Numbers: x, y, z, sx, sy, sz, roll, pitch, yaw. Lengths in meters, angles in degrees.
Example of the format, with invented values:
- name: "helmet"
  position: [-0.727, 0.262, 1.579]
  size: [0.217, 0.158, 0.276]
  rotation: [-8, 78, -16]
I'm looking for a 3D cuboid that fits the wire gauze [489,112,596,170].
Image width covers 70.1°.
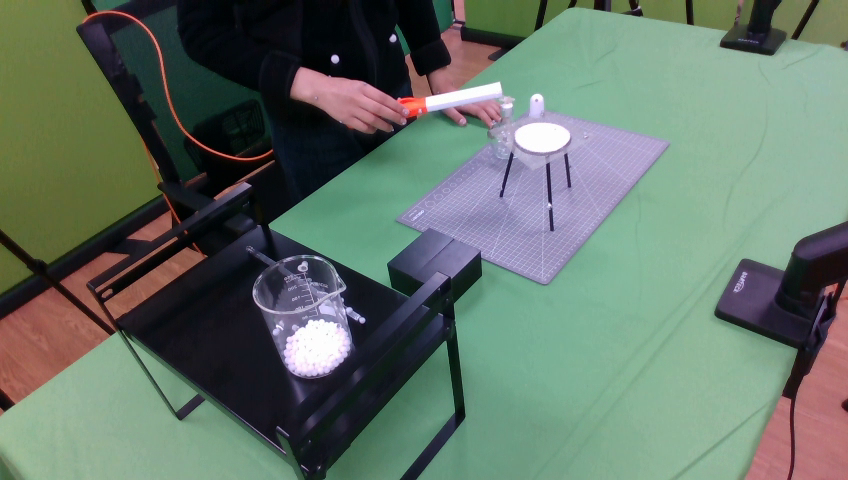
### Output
- name: "wire gauze"
  position: [0.183, -0.161, 0.942]
  size: [0.122, 0.011, 0.124]
  rotation: [-24, 44, -18]

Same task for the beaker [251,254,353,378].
- name: "beaker"
  position: [-0.106, 0.074, 0.565]
  size: [0.084, 0.101, 0.073]
  rotation: [-1, 41, 8]

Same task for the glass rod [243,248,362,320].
- name: "glass rod"
  position: [-0.141, 0.046, 0.674]
  size: [0.198, 0.008, 0.008]
  rotation: [24, 50, 32]

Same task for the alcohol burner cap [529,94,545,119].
- name: "alcohol burner cap"
  position: [0.233, -0.277, 1.247]
  size: [0.034, 0.048, 0.033]
  rotation: [-5, 41, 5]

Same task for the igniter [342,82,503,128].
- name: "igniter"
  position: [-0.006, -0.227, 1.022]
  size: [0.276, 0.025, 0.057]
  rotation: [-10, 41, 7]

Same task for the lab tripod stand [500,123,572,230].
- name: "lab tripod stand"
  position: [0.194, -0.110, 0.985]
  size: [0.148, 0.132, 0.147]
  rotation: [-3, 41, 3]

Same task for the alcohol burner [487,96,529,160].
- name: "alcohol burner"
  position: [0.155, -0.212, 1.126]
  size: [0.078, 0.119, 0.077]
  rotation: [-6, 39, 5]
